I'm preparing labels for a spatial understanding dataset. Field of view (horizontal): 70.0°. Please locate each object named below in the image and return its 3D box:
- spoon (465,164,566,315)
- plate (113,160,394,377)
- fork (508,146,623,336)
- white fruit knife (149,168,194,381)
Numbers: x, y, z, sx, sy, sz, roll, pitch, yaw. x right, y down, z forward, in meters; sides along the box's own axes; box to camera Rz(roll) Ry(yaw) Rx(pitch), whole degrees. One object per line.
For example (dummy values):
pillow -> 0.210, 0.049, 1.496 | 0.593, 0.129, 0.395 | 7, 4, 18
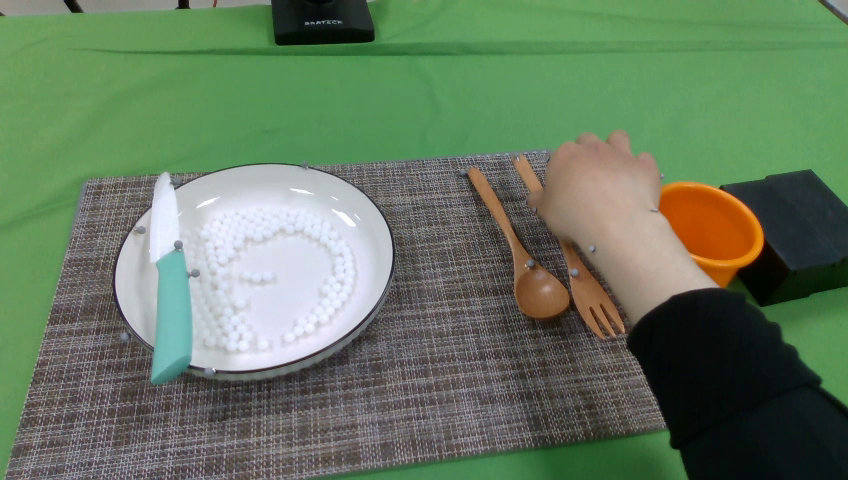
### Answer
spoon -> 0.071, -0.008, 0.528 | 0.041, 0.022, 0.191 | -19, 51, -2
plate -> -0.127, 0.018, 0.477 | 0.209, 0.038, 0.207 | 3, 48, -3
fork -> 0.115, -0.007, 0.523 | 0.028, 0.019, 0.205 | -20, 61, -1
white fruit knife -> -0.189, 0.012, 0.448 | 0.027, 0.016, 0.205 | -14, 50, -11
